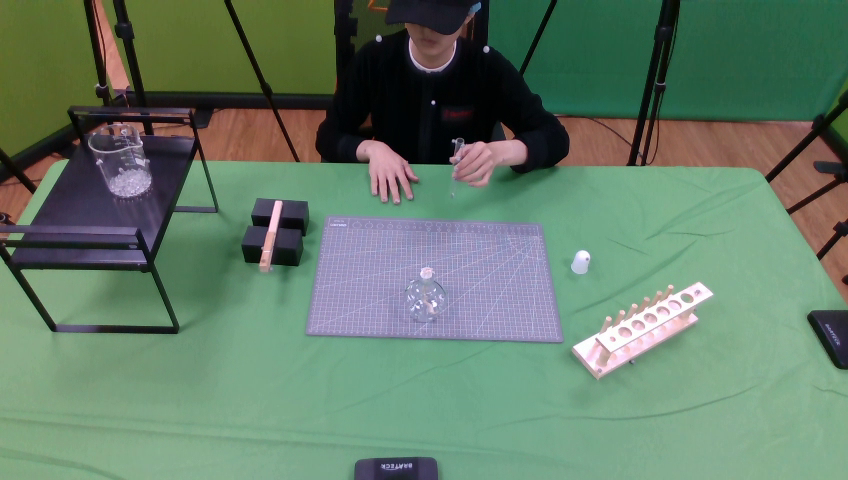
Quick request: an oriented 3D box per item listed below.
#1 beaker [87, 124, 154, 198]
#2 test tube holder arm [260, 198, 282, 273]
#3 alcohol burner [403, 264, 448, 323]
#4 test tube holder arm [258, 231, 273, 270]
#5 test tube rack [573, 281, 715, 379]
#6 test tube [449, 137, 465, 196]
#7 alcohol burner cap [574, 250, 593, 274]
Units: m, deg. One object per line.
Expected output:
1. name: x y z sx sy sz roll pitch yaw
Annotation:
1. beaker: -0.482 -0.124 0.978 0.084 0.101 0.073 9 46 4
2. test tube holder arm: -0.282 -0.012 1.121 0.015 0.013 0.177 -3 48 3
3. alcohol burner: 0.003 0.087 1.042 0.078 0.120 0.077 1 45 0
4. test tube holder arm: -0.282 0.018 1.086 0.015 0.010 0.087 -3 47 3
5. test tube rack: 0.378 0.140 1.038 0.242 0.085 0.066 -22 51 -23
6. test tube: 0.063 -0.137 1.156 0.017 0.151 0.017 2 51 -3
7. alcohol burner cap: 0.308 0.039 1.163 0.034 0.048 0.033 1 46 -1
